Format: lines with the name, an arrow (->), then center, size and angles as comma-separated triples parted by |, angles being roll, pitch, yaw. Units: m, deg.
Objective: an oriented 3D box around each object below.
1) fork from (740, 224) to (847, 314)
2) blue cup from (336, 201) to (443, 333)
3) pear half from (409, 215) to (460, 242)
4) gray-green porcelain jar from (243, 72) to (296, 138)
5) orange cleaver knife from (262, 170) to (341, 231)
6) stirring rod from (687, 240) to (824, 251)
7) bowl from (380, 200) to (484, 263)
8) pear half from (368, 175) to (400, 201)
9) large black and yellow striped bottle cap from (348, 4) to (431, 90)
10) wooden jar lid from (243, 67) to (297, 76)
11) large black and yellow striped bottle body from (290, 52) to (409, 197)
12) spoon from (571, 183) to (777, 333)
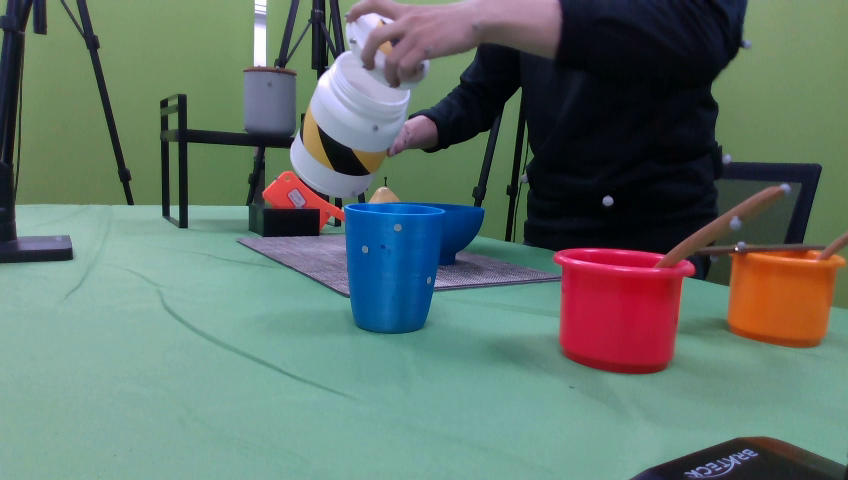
fork -> 0.323, 0.013, 0.485 | 0.028, 0.018, 0.207 | 9, -38, -5
blue cup -> -0.029, 0.021, 0.508 | 0.093, 0.100, 0.092 | 3, 9, 0
pear half -> 0.011, -0.019, 0.848 | 0.070, 0.031, 0.088 | 3, 11, 33
gray-green porcelain jar -> -0.322, -0.279, 1.263 | 0.106, 0.126, 0.106 | 3, 8, 0
orange cleaver knife -> -0.201, -0.057, 1.136 | 0.212, 0.077, 0.012 | 31, -3, -31
stirring rod -> 0.289, 0.005, 0.525 | 0.177, 0.006, 0.014 | -1, 6, -26
bowl -> 0.007, -0.012, 0.842 | 0.151, 0.077, 0.151 | 2, 8, 0
pear half -> -0.064, -0.061, 1.077 | 0.055, 0.110, 0.077 | 9, 14, 39
large black and yellow striped bottle cap -> -0.041, -0.242, 0.758 | 0.115, 0.114, 0.018 | -4, -18, -41
wooden jar lid -> -0.319, -0.342, 1.254 | 0.108, 0.020, 0.108 | 3, 8, 0
large black and yellow striped bottle body -> -0.107, -0.166, 0.881 | 0.131, 0.130, 0.183 | -3, -34, -35
spoon -> 0.161, 0.020, 0.413 | 0.042, 0.021, 0.193 | 1, -36, -24
